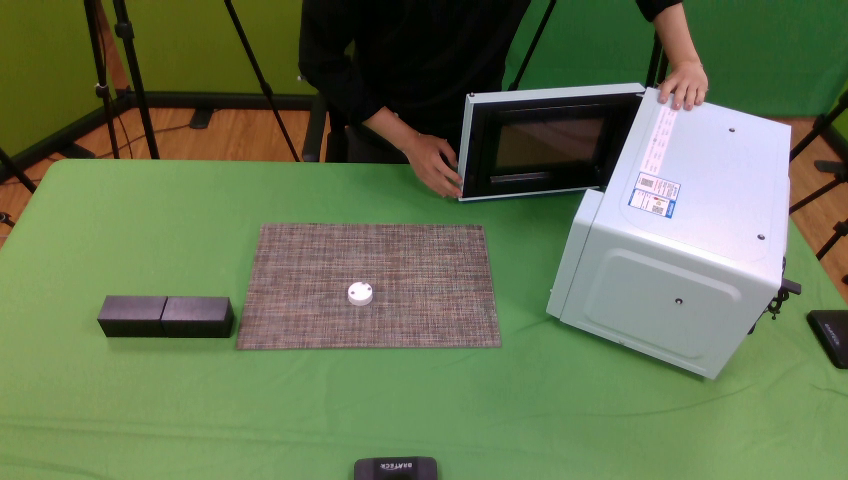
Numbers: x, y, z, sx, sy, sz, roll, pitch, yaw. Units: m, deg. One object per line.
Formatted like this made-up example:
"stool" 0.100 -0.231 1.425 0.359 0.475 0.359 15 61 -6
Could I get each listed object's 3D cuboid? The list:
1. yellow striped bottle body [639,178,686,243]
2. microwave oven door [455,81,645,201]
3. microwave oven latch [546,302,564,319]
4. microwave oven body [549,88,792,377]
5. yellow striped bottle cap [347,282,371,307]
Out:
"yellow striped bottle body" 0.445 -0.058 1.126 0.063 0.121 0.062 -1 46 1
"microwave oven door" 0.249 -0.198 1.229 0.356 0.245 0.039 -7 47 -10
"microwave oven latch" 0.242 0.102 1.081 0.030 0.029 0.079 21 48 17
"microwave oven body" 0.456 -0.028 1.088 0.325 0.261 0.440 20 47 16
"yellow striped bottle cap" -0.117 0.098 1.093 0.044 0.019 0.044 4 46 -3
